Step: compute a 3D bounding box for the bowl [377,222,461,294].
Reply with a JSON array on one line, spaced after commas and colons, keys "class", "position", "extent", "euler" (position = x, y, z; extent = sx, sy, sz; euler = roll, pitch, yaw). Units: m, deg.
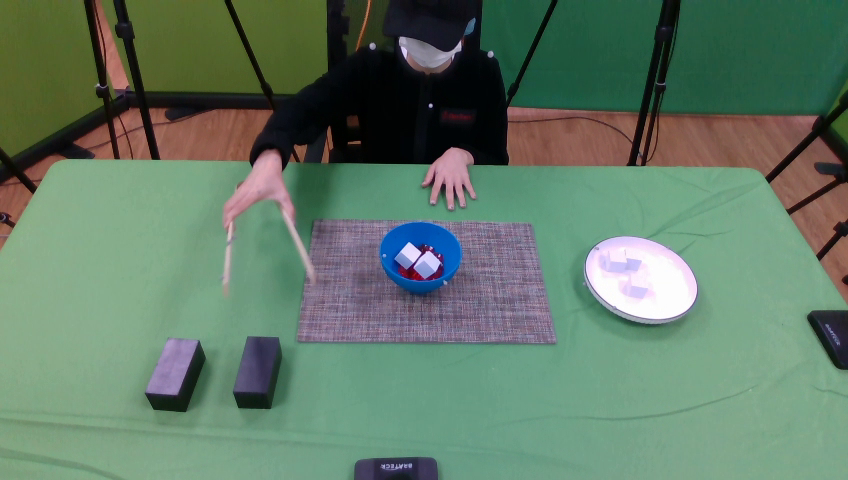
[{"class": "bowl", "position": [-0.011, 0.045, 1.109], "extent": [0.151, 0.077, 0.150], "euler": [2, 46, -2]}]

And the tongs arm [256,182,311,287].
[{"class": "tongs arm", "position": [-0.244, -0.022, 1.044], "extent": [0.028, 0.028, 0.385], "euler": [-15, 31, -18]}]

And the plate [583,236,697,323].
[{"class": "plate", "position": [0.403, 0.078, 1.144], "extent": [0.209, 0.038, 0.208], "euler": [2, 45, -2]}]

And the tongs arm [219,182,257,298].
[{"class": "tongs arm", "position": [-0.310, -0.015, 1.026], "extent": [0.051, 0.026, 0.382], "euler": [-7, 28, -12]}]
